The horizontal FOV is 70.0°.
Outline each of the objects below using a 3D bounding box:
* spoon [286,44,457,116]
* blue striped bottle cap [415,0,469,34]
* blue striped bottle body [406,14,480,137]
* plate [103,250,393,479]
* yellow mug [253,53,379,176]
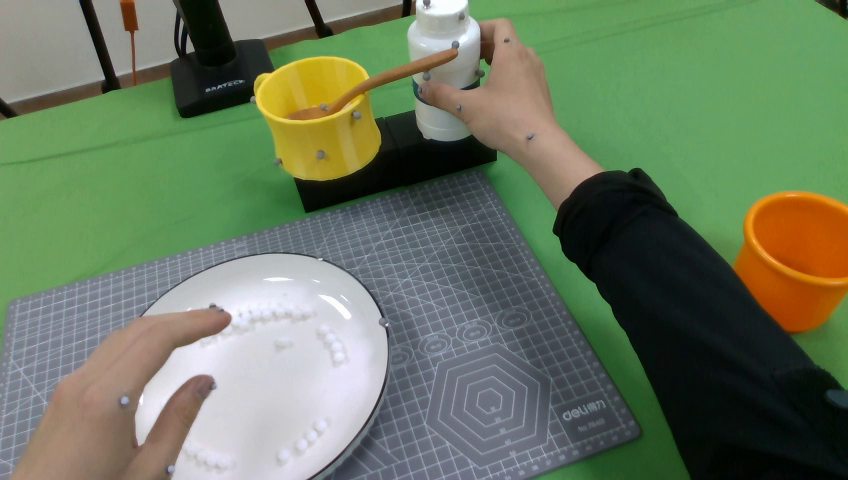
[{"bbox_3d":[-0.054,-0.128,0.514,0.193,0.022,0.041,-16,34,37],"label":"spoon"},{"bbox_3d":[0.015,-0.190,0.499,0.044,0.021,0.044,-5,49,6],"label":"blue striped bottle cap"},{"bbox_3d":[0.018,-0.157,0.538,0.063,0.122,0.062,-3,48,3],"label":"blue striped bottle body"},{"bbox_3d":[-0.124,0.098,0.451,0.207,0.039,0.205,-2,49,3],"label":"plate"},{"bbox_3d":[-0.108,-0.120,0.556,0.130,0.064,0.099,22,54,24],"label":"yellow mug"}]
